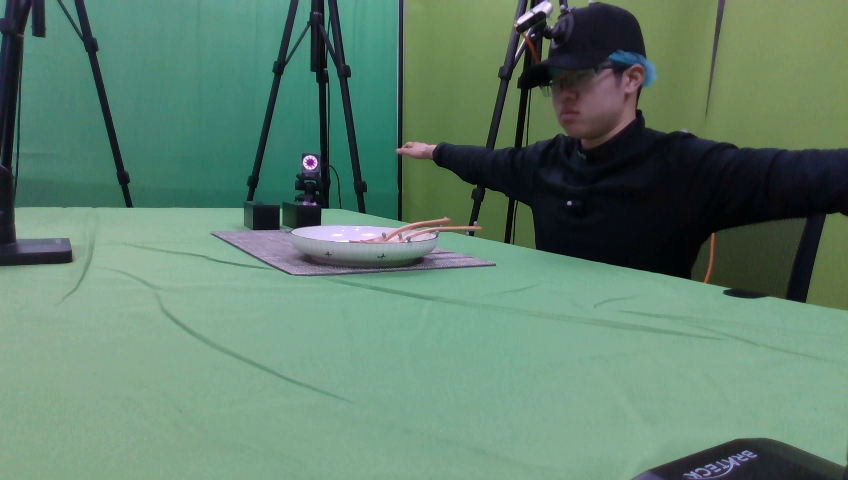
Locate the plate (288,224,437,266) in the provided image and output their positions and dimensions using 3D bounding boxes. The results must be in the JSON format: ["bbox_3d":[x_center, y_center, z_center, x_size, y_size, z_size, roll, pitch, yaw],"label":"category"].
[{"bbox_3d":[-0.086,0.007,0.852,0.208,0.039,0.207,2,7,0],"label":"plate"}]

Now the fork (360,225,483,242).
[{"bbox_3d":[0.002,-0.009,0.893,0.208,0.018,0.028,-11,10,-30],"label":"fork"}]

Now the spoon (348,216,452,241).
[{"bbox_3d":[-0.030,-0.015,0.923,0.195,0.021,0.041,-19,15,-36],"label":"spoon"}]
